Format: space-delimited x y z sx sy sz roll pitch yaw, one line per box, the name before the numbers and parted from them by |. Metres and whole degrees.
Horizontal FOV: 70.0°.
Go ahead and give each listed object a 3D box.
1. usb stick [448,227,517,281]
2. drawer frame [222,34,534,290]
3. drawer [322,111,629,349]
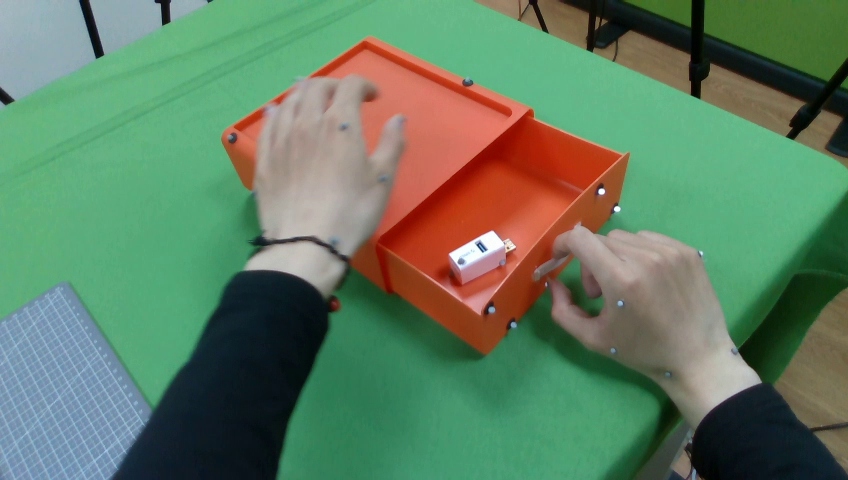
usb stick | 0.051 0.009 0.507 0.059 0.027 0.021 -25 52 -15
drawer frame | -0.040 -0.085 0.569 0.211 0.083 0.201 32 62 30
drawer | 0.032 -0.040 0.524 0.210 0.074 0.194 32 62 29
